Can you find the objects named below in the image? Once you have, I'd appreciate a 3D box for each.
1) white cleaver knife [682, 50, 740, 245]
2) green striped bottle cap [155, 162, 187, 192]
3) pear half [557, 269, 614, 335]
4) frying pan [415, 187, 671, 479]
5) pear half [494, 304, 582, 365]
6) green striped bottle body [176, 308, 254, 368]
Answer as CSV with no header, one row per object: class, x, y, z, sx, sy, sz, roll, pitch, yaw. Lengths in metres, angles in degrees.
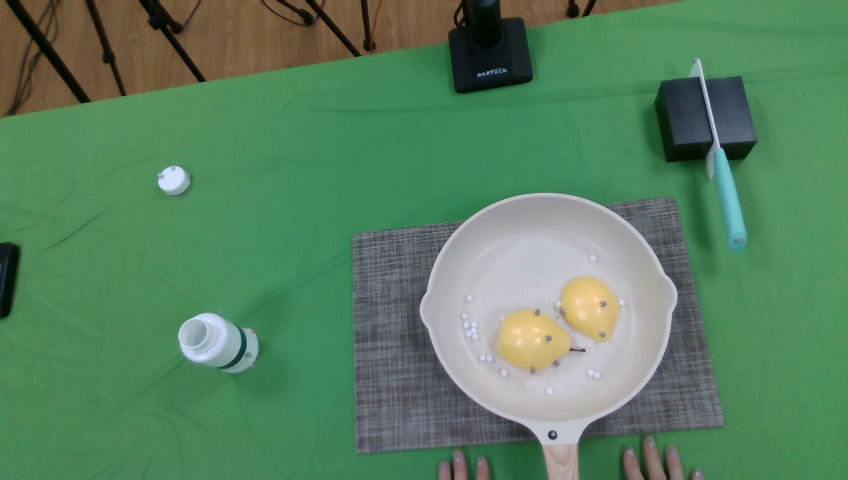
white cleaver knife,0.378,-0.126,0.805,0.021,0.066,0.284,-5,68,13
green striped bottle cap,-0.393,-0.098,0.942,0.044,0.020,0.044,-3,70,9
pear half,0.208,0.076,0.773,0.070,0.031,0.087,-22,65,6
frying pan,0.145,0.169,0.713,0.306,0.104,0.483,-5,62,8
pear half,0.143,0.118,0.756,0.109,0.056,0.076,6,77,9
green striped bottle body,-0.274,0.127,0.788,0.063,0.120,0.063,-3,70,8
